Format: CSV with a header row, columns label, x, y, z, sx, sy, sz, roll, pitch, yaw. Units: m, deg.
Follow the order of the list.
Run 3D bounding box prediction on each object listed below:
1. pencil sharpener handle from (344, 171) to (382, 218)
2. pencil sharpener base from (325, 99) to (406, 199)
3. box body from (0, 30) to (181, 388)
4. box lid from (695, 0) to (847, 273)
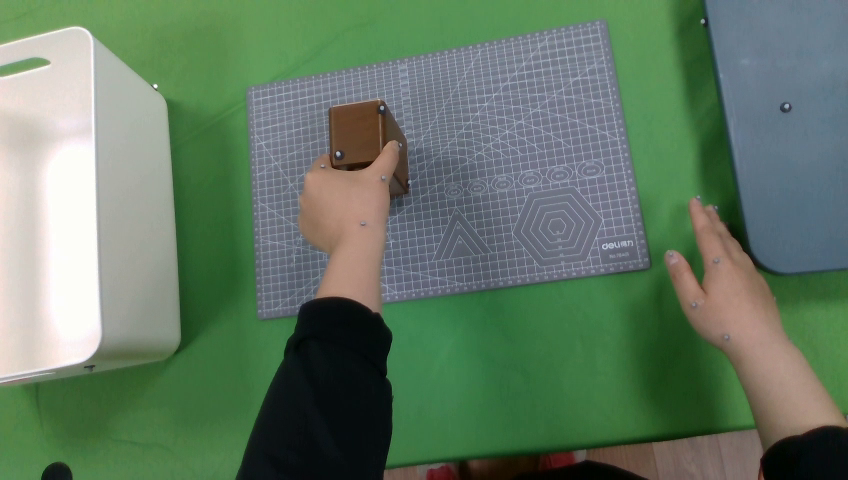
label,x,y,z,sx,sy,sz,roll,pitch,yaw
pencil sharpener handle,-0.059,-0.047,0.634,0.036,0.068,0.030,-8,74,15
pencil sharpener base,-0.061,-0.092,0.659,0.061,0.108,0.076,-7,74,10
box body,-0.439,-0.019,0.699,0.254,0.161,0.362,-11,77,8
box lid,0.428,-0.159,0.604,0.263,0.015,0.369,-7,78,9
